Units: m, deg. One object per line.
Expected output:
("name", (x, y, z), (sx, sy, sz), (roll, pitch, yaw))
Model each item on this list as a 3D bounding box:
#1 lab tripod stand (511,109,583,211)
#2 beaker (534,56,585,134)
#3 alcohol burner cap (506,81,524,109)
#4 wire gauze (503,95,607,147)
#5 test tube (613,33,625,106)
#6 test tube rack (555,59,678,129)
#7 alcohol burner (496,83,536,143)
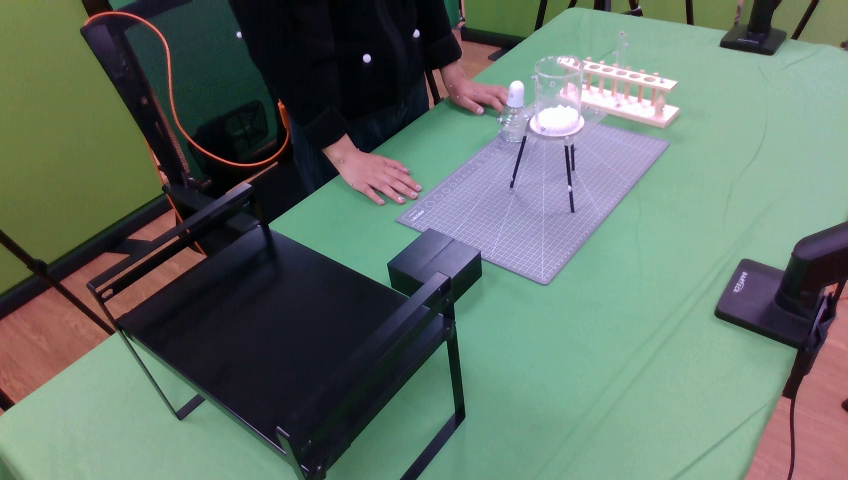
("lab tripod stand", (0.220, -0.138, 1.014), (0.148, 0.132, 0.147), (-3, 41, 3))
("beaker", (0.209, -0.226, 0.942), (0.074, 0.101, 0.083), (-2, 41, 7))
("alcohol burner cap", (0.173, -0.277, 1.144), (0.034, 0.048, 0.033), (0, 39, 0))
("wire gauze", (0.211, -0.191, 0.976), (0.120, 0.011, 0.125), (24, 52, 32))
("test tube", (0.380, -0.330, 1.180), (0.017, 0.151, 0.017), (-7, 41, 6))
("test tube rack", (0.390, -0.307, 1.229), (0.240, 0.085, 0.067), (25, 50, 33))
("alcohol burner", (0.178, -0.250, 1.168), (0.078, 0.119, 0.077), (-5, 42, 5))
